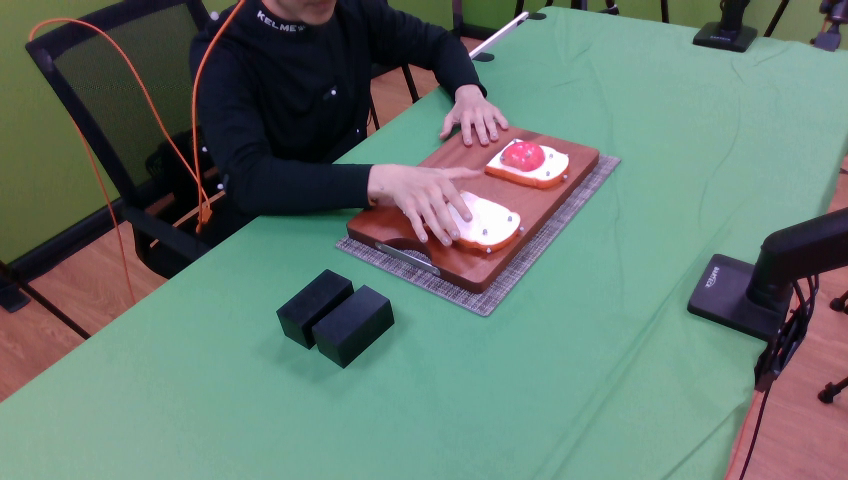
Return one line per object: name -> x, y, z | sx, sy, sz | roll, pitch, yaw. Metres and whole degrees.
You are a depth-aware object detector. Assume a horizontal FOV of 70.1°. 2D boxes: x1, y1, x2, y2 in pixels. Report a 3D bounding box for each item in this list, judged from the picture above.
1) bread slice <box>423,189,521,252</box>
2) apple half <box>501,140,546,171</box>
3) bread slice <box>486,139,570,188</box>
bread slice -> 0.084, -0.030, 0.949 | 0.133, 0.018, 0.107 | 22, 49, 28
apple half -> 0.174, -0.155, 1.048 | 0.081, 0.033, 0.081 | -4, 42, 5
bread slice -> 0.190, -0.135, 1.059 | 0.130, 0.019, 0.105 | 22, 49, 30
